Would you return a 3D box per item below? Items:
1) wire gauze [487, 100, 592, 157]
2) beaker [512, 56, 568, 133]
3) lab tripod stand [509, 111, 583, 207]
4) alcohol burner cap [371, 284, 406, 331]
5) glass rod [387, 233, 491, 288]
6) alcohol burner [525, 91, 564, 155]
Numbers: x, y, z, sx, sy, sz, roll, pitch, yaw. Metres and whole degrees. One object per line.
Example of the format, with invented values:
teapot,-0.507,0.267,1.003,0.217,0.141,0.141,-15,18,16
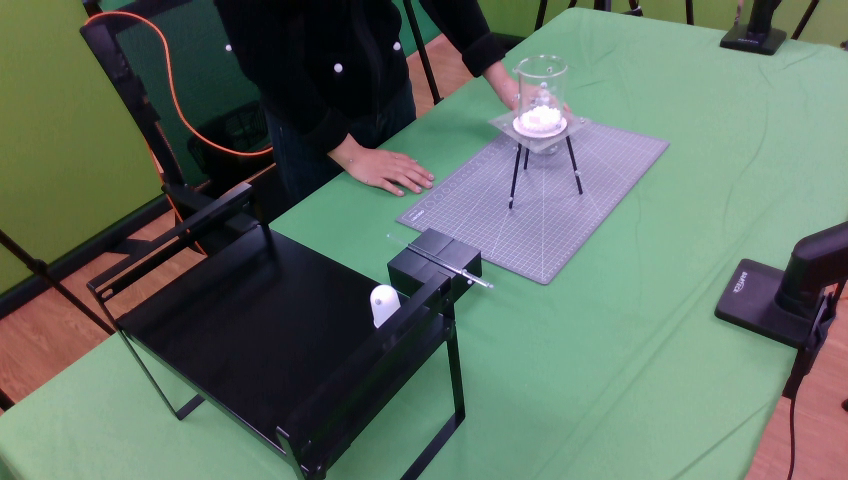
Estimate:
wire gauze,0.185,-0.187,0.974,0.122,0.011,0.124,-28,47,-22
beaker,0.181,-0.225,0.946,0.084,0.101,0.074,2,41,12
lab tripod stand,0.198,-0.139,1.019,0.148,0.132,0.147,-3,39,3
alcohol burner cap,-0.037,0.065,0.608,0.034,0.048,0.033,-4,41,4
glass rod,0.017,0.027,0.877,0.198,0.008,0.008,26,51,34
alcohol burner,0.225,-0.219,1.122,0.078,0.119,0.077,-7,37,6
